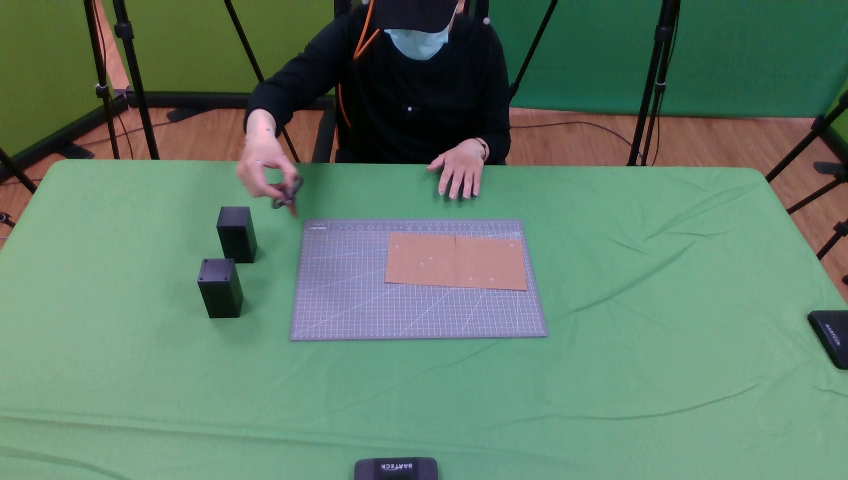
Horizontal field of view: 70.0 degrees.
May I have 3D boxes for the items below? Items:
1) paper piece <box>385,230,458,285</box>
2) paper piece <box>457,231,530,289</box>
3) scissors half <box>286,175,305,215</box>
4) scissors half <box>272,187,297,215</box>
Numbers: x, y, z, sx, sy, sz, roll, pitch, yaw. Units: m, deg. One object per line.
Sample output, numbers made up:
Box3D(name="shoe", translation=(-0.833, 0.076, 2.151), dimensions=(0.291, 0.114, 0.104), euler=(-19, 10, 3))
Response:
Box3D(name="paper piece", translation=(-0.002, 0.031, 1.169), dimensions=(0.136, 0.004, 0.134), euler=(3, 48, 1))
Box3D(name="paper piece", translation=(0.132, 0.038, 1.171), dimensions=(0.138, 0.009, 0.135), euler=(4, 50, -1))
Box3D(name="scissors half", translation=(-0.215, -0.075, 1.009), dimensions=(0.040, 0.013, 0.174), euler=(-44, 25, 10))
Box3D(name="scissors half", translation=(-0.229, -0.061, 1.009), dimensions=(0.040, 0.013, 0.174), euler=(-45, 24, -7))
